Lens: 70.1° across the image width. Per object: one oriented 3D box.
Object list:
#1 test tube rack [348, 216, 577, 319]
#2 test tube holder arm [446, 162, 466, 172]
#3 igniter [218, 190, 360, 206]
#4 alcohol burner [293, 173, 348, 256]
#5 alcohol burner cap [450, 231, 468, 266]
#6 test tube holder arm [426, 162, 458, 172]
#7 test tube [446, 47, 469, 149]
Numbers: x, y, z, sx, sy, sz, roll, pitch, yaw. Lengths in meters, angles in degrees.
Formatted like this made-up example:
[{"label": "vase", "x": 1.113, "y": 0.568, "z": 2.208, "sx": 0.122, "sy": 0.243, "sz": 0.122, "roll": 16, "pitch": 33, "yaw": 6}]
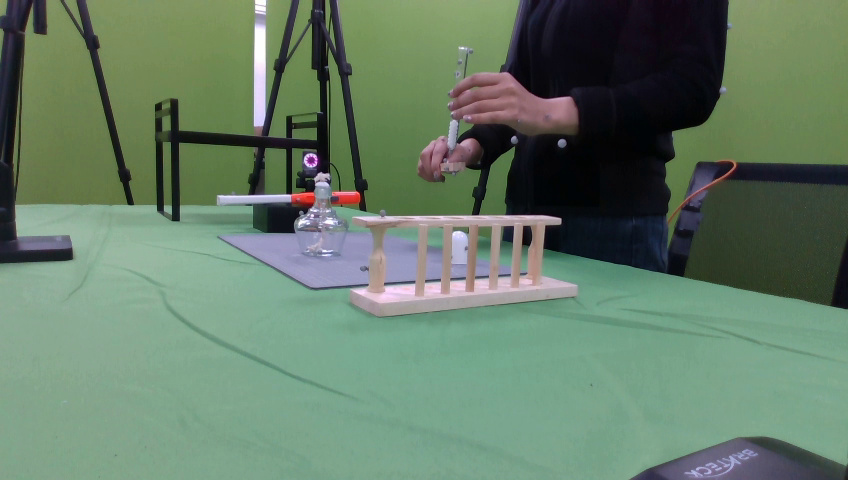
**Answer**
[{"label": "test tube rack", "x": 0.048, "y": 0.021, "z": 0.619, "sx": 0.244, "sy": 0.085, "sz": 0.066, "roll": -2, "pitch": 8, "yaw": -31}, {"label": "test tube holder arm", "x": 0.046, "y": -0.117, "z": 0.967, "sx": 0.010, "sy": 0.015, "sz": 0.087, "roll": 0, "pitch": 5, "yaw": -19}, {"label": "igniter", "x": -0.248, "y": -0.080, "z": 1.150, "sx": 0.278, "sy": 0.025, "sz": 0.057, "roll": -5, "pitch": 7, "yaw": -29}, {"label": "alcohol burner", "x": -0.146, "y": -0.036, "z": 0.859, "sx": 0.078, "sy": 0.119, "sz": 0.078, "roll": 4, "pitch": 8, "yaw": 0}, {"label": "alcohol burner cap", "x": 0.046, "y": 0.011, "z": 0.838, "sx": 0.034, "sy": 0.048, "sz": 0.034, "roll": 2, "pitch": 6, "yaw": 0}, {"label": "test tube holder arm", "x": 0.028, "y": -0.121, "z": 1.009, "sx": 0.013, "sy": 0.015, "sz": 0.178, "roll": 1, "pitch": 5, "yaw": -15}, {"label": "test tube", "x": 0.049, "y": -0.209, "z": 0.898, "sx": 0.017, "sy": 0.150, "sz": 0.017, "roll": 6, "pitch": 21, "yaw": -2}]
